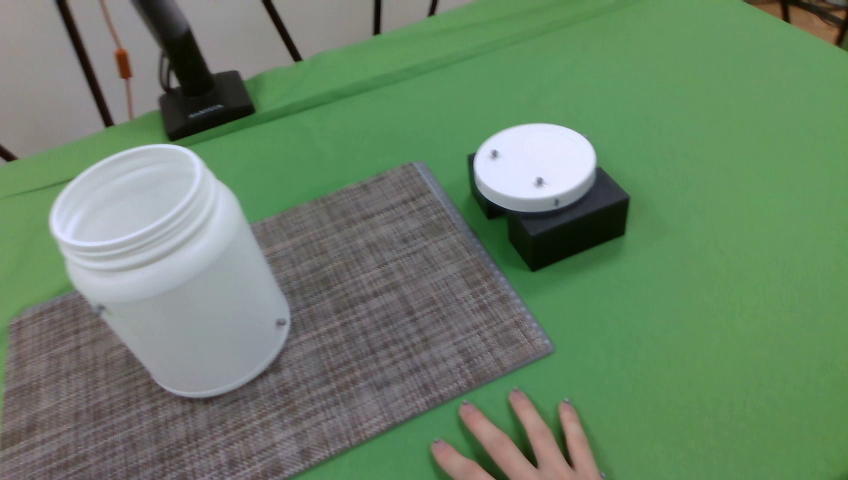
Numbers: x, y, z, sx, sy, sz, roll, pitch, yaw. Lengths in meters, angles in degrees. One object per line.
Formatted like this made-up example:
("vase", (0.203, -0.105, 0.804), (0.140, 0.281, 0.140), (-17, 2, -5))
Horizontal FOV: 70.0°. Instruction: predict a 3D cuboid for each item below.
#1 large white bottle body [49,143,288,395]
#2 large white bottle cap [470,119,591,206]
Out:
("large white bottle body", (-0.198, 0.026, 0.492), (0.130, 0.186, 0.129), (-5, 46, 6))
("large white bottle cap", (0.102, -0.076, 0.582), (0.115, 0.018, 0.113), (-5, 46, 6))
